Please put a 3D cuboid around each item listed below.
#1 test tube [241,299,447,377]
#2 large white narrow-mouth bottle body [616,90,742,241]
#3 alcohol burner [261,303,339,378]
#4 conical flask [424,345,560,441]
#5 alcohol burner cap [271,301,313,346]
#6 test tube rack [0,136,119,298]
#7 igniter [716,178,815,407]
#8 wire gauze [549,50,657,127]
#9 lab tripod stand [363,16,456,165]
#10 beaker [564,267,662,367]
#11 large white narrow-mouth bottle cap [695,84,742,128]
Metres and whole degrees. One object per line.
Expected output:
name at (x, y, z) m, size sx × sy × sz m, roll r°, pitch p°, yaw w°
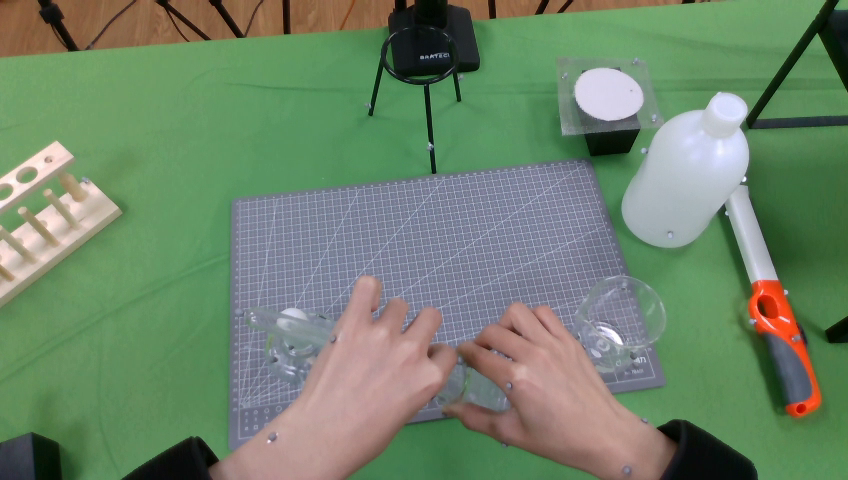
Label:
test tube at (-0.056, 0.070, 0.431) m, size 0.151 × 0.017 × 0.017 m, roll 18°, pitch 62°, yaw -9°
large white narrow-mouth bottle body at (0.279, -0.085, 0.651) m, size 0.102 × 0.196 × 0.101 m, roll 0°, pitch 61°, yaw 0°
alcohol burner at (-0.124, 0.092, 0.595) m, size 0.078 × 0.120 × 0.077 m, roll 1°, pitch 60°, yaw -2°
conical flask at (0.051, 0.116, 0.486) m, size 0.075 × 0.123 × 0.074 m, roll -19°, pitch 58°, yaw 34°
alcohol burner cap at (-0.124, 0.076, 0.562) m, size 0.034 × 0.048 × 0.033 m, roll -2°, pitch 61°, yaw 4°
test tube rack at (-0.470, 0.002, 0.657) m, size 0.066 × 0.086 × 0.242 m, roll 38°, pitch 68°, yaw 18°
igniter at (0.375, 0.048, 0.677) m, size 0.057 × 0.025 × 0.274 m, roll 2°, pitch 61°, yaw -11°
wire gauze at (0.221, -0.192, 0.757) m, size 0.121 × 0.011 × 0.124 m, roll 0°, pitch 62°, yaw -1°
lab tripod stand at (-0.009, -0.187, 0.736) m, size 0.148 × 0.132 × 0.147 m, roll 1°, pitch 63°, yaw -2°
beaker at (0.182, 0.083, 0.612) m, size 0.084 × 0.101 × 0.073 m, roll -2°, pitch 61°, yaw -1°
large white narrow-mouth bottle cap at (0.279, -0.128, 0.576) m, size 0.038 × 0.024 × 0.037 m, roll 0°, pitch 62°, yaw 0°
